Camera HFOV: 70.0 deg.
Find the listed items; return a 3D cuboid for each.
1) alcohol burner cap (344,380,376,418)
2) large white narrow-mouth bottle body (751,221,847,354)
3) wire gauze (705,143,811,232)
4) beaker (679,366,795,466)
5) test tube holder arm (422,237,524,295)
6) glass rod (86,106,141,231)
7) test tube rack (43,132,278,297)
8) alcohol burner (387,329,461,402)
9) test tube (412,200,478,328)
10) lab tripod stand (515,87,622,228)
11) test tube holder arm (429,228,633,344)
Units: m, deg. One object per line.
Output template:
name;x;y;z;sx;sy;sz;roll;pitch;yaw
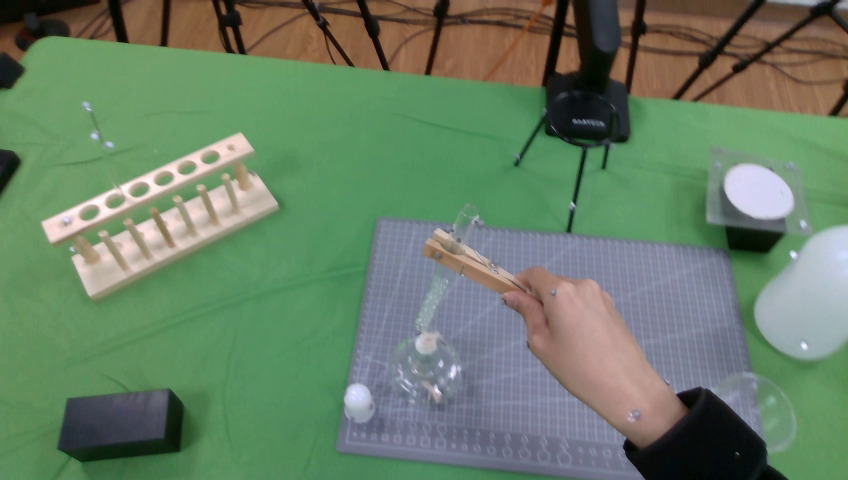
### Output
alcohol burner cap;-0.069;0.165;0.634;0.034;0.048;0.033;0;58;1
large white narrow-mouth bottle body;0.436;0.040;0.641;0.102;0.196;0.101;1;56;-1
wire gauze;0.416;-0.066;0.761;0.121;0.011;0.124;12;57;6
beaker;0.301;0.178;0.601;0.084;0.101;0.073;10;57;7
test tube holder arm;0.040;0.021;0.486;0.087;0.015;0.010;24;61;7
glass rod;-0.341;-0.066;0.675;0.008;0.201;0.008;4;49;-4
test tube rack;-0.307;-0.033;0.733;0.242;0.086;0.066;-29;63;-19
alcohol burner;0.001;0.122;0.621;0.078;0.120;0.077;2;56;-2
test tube;0.015;0.025;0.507;0.017;0.151;0.017;11;43;-10
lab tripod stand;0.190;-0.111;0.768;0.148;0.132;0.147;2;58;-2
test tube holder arm;0.083;0.036;0.483;0.178;0.015;0.013;26;61;8
